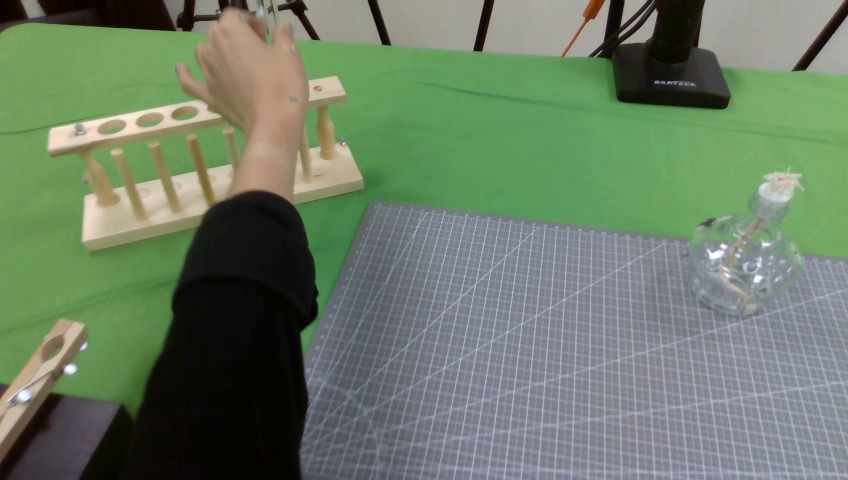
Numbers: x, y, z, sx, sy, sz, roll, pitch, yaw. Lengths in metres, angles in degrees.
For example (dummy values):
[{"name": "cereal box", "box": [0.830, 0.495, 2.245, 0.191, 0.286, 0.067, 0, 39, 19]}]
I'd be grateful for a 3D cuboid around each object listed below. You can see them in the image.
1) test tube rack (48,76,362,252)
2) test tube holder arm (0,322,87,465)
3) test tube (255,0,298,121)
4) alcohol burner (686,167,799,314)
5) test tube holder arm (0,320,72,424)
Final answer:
[{"name": "test tube rack", "box": [-0.183, -0.070, 0.537, 0.243, 0.086, 0.066, -15, 46, -14]}, {"name": "test tube holder arm", "box": [-0.235, 0.118, 0.325, 0.013, 0.015, 0.177, 11, 47, 1]}, {"name": "test tube", "box": [-0.123, -0.159, 0.498, 0.017, 0.151, 0.017, 0, 50, 0]}, {"name": "alcohol burner", "box": [0.235, -0.002, 0.438, 0.078, 0.120, 0.077, 0, 43, 0]}, {"name": "test tube holder arm", "box": [-0.233, 0.085, 0.356, 0.010, 0.015, 0.087, 11, 47, 2]}]
